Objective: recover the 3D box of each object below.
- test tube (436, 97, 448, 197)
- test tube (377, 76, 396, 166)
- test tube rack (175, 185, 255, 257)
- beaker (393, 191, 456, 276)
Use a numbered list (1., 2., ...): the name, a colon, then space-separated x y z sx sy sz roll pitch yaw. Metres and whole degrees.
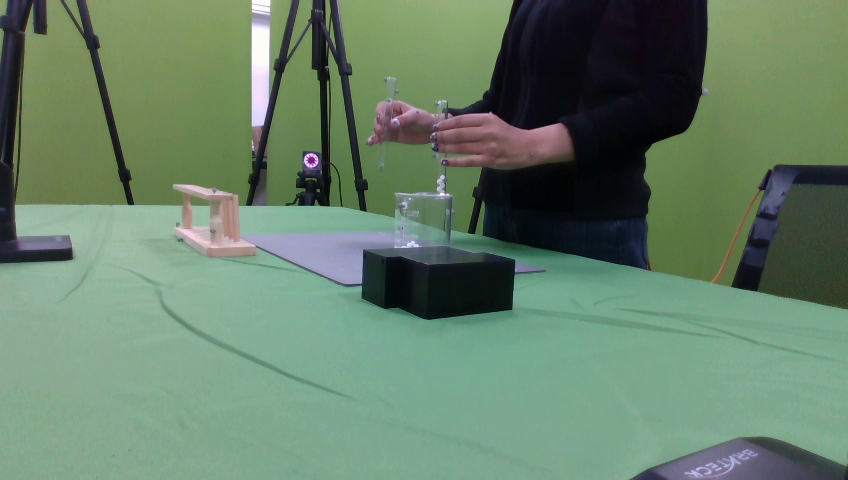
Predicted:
1. test tube: 0.028 -0.139 0.916 0.017 0.150 0.017 1 8 0
2. test tube: -0.064 -0.201 1.027 0.017 0.150 0.017 8 11 -1
3. test tube rack: -0.324 -0.035 0.922 0.067 0.085 0.241 -2 9 -31
4. beaker: -0.003 -0.010 0.749 0.074 0.100 0.083 -3 8 -40
